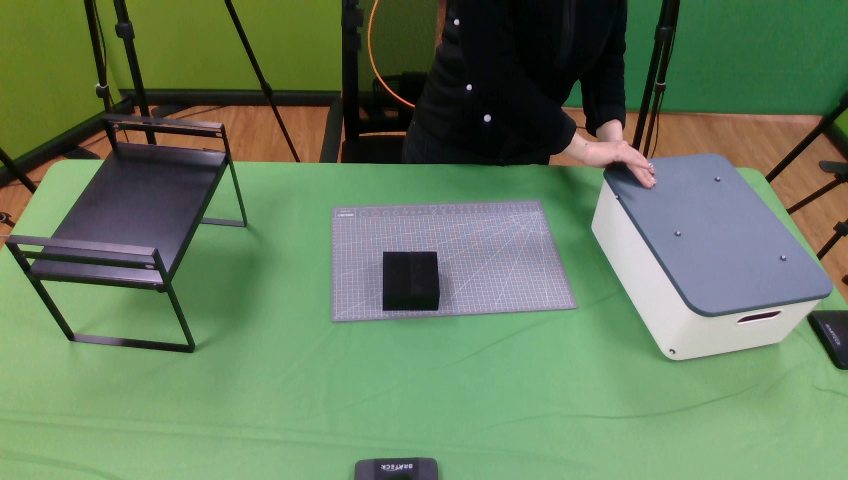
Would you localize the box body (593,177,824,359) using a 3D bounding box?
[{"bbox_3d":[0.497,0.023,1.111,0.254,0.161,0.361,-7,47,-10],"label":"box body"}]

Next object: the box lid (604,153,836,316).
[{"bbox_3d":[0.499,-0.029,1.060,0.264,0.015,0.369,-7,47,-11],"label":"box lid"}]

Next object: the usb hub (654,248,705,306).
[{"bbox_3d":[0.482,0.069,1.150,0.049,0.025,0.124,-1,48,-8],"label":"usb hub"}]
